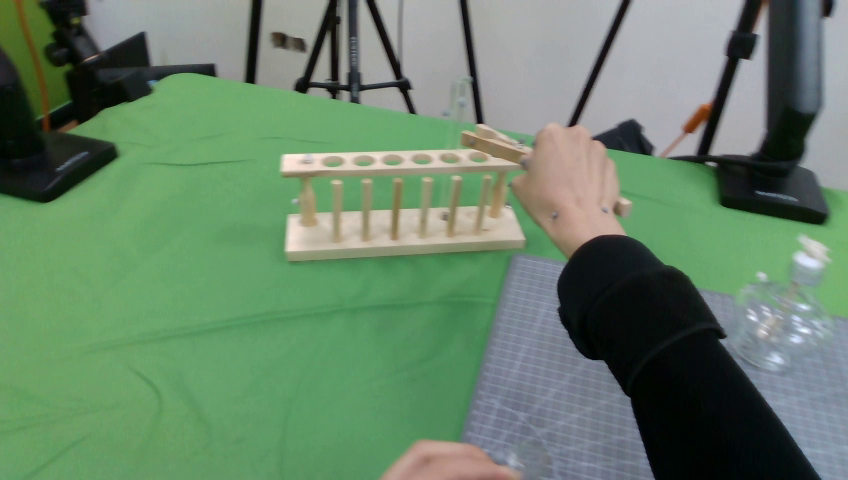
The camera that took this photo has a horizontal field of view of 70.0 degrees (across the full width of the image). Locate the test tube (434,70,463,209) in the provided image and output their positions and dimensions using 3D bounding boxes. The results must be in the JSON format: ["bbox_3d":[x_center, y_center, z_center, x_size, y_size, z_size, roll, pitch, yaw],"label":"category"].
[{"bbox_3d":[0.023,-0.095,0.607,0.017,0.151,0.017,4,36,-2],"label":"test tube"}]

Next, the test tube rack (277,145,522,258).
[{"bbox_3d":[-0.022,-0.042,0.615,0.243,0.086,0.066,-3,38,-9],"label":"test tube rack"}]

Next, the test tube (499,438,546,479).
[{"bbox_3d":[0.032,0.153,0.295,0.017,0.151,0.017,10,29,-5],"label":"test tube"}]

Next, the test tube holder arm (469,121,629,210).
[{"bbox_3d":[0.102,-0.069,0.527,0.013,0.015,0.176,-29,45,-31],"label":"test tube holder arm"}]

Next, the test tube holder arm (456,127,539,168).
[{"bbox_3d":[0.067,-0.085,0.549,0.087,0.015,0.010,24,43,29],"label":"test tube holder arm"}]

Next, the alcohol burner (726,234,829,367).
[{"bbox_3d":[0.297,0.046,0.499,0.078,0.120,0.077,2,36,-1],"label":"alcohol burner"}]
